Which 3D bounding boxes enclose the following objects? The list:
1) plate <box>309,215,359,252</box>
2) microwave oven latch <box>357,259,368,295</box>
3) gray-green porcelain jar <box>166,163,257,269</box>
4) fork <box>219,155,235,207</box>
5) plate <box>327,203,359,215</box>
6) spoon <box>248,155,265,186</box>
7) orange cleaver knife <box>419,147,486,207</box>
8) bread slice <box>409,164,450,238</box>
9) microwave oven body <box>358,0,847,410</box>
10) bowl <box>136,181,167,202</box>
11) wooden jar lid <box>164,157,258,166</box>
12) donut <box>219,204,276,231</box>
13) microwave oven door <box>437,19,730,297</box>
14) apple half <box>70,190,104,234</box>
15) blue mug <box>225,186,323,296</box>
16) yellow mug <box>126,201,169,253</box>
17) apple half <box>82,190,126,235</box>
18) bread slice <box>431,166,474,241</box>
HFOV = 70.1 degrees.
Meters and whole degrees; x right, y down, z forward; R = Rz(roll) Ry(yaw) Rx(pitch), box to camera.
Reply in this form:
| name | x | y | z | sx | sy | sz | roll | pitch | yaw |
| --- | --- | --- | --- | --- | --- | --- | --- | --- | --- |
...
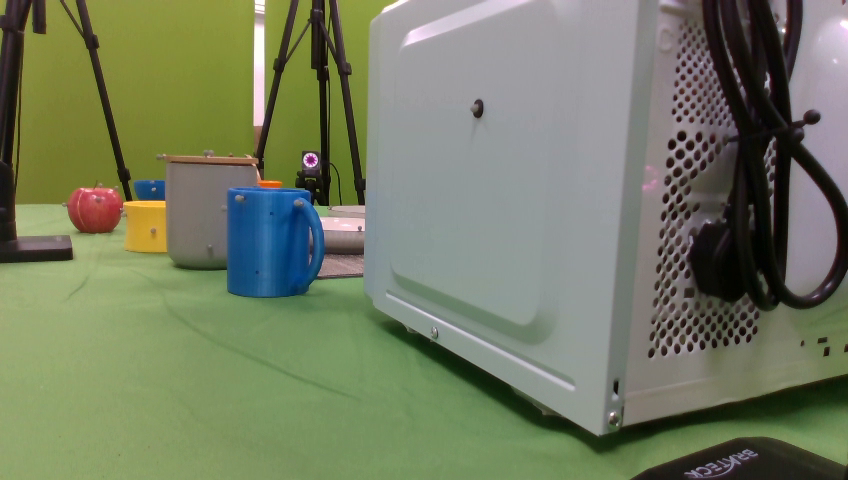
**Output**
| name | x | y | z | sx | sy | sz | roll | pitch | yaw |
| --- | --- | --- | --- | --- | --- | --- | --- | --- | --- |
| plate | -0.130 | -0.011 | 0.945 | 0.208 | 0.039 | 0.207 | 2 | 7 | 0 |
| microwave oven latch | -0.019 | 0.031 | 0.529 | 0.079 | 0.029 | 0.030 | -1 | 7 | -26 |
| gray-green porcelain jar | -0.263 | -0.031 | 0.754 | 0.106 | 0.126 | 0.106 | 2 | 7 | 0 |
| fork | -0.459 | -0.134 | 1.415 | 0.028 | 0.018 | 0.207 | -1 | -34 | -24 |
| plate | -0.102 | -0.053 | 1.299 | 0.209 | 0.038 | 0.209 | 2 | 8 | 0 |
| spoon | -0.417 | -0.150 | 1.543 | 0.042 | 0.193 | 0.021 | -4 | -35 | -34 |
| orange cleaver knife | 0.057 | -0.103 | 1.131 | 0.012 | 0.077 | 0.212 | 2 | -16 | 37 |
| bread slice | 0.015 | -0.069 | 1.099 | 0.018 | 0.134 | 0.107 | 4 | 1 | 36 |
| microwave oven body | 0.210 | -0.051 | 0.471 | 0.444 | 0.260 | 0.324 | -1 | 7 | -28 |
| bowl | -0.497 | -0.076 | 1.221 | 0.151 | 0.077 | 0.151 | 2 | 8 | 0 |
| wooden jar lid | -0.261 | -0.093 | 0.746 | 0.108 | 0.020 | 0.108 | 1 | 9 | 0 |
| donut | -0.316 | -0.039 | 1.083 | 0.099 | 0.048 | 0.099 | 2 | 7 | 0 |
| microwave oven door | 0.181 | -0.076 | 0.618 | 0.358 | 0.243 | 0.039 | -2 | 9 | -28 |
| apple half | -0.552 | -0.048 | 1.010 | 0.053 | 0.074 | 0.081 | -1 | 10 | 26 |
| blue mug | -0.148 | 0.000 | 0.618 | 0.116 | 0.106 | 0.083 | 7 | 9 | 33 |
| yellow mug | -0.361 | -0.019 | 0.866 | 0.130 | 0.064 | 0.100 | 6 | 9 | 27 |
| apple half | -0.516 | -0.046 | 0.994 | 0.032 | 0.081 | 0.081 | 0 | 6 | 26 |
| bread slice | 0.053 | -0.063 | 1.057 | 0.019 | 0.131 | 0.105 | 11 | 11 | 38 |
